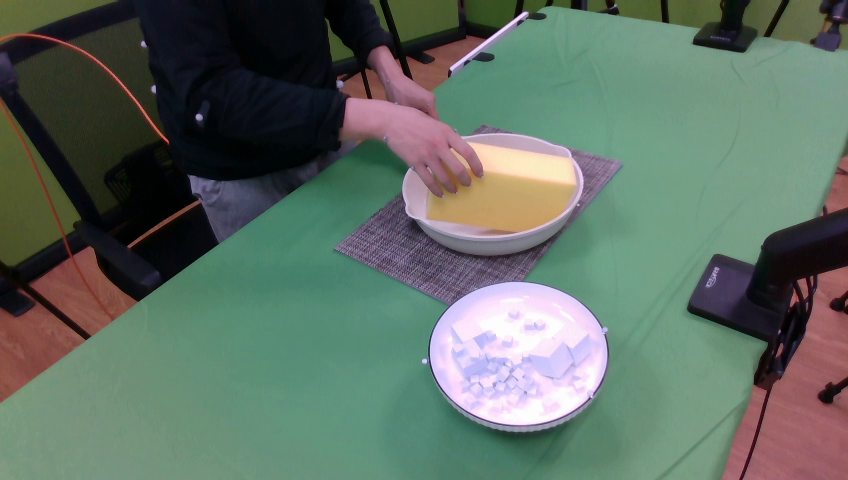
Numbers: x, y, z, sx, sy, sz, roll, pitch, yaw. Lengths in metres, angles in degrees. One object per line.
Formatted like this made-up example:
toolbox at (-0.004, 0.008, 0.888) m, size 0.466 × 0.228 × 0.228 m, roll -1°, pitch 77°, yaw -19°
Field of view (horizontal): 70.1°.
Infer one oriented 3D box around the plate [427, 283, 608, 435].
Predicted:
plate at (0.108, 0.137, 0.708) m, size 0.207 × 0.039 × 0.206 m, roll -4°, pitch 42°, yaw 4°

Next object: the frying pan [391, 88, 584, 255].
frying pan at (0.063, -0.143, 1.056) m, size 0.308 × 0.103 × 0.483 m, roll -22°, pitch 51°, yaw -18°

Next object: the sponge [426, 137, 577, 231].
sponge at (0.112, -0.078, 0.916) m, size 0.207 × 0.118 × 0.060 m, roll 8°, pitch 49°, yaw -8°
